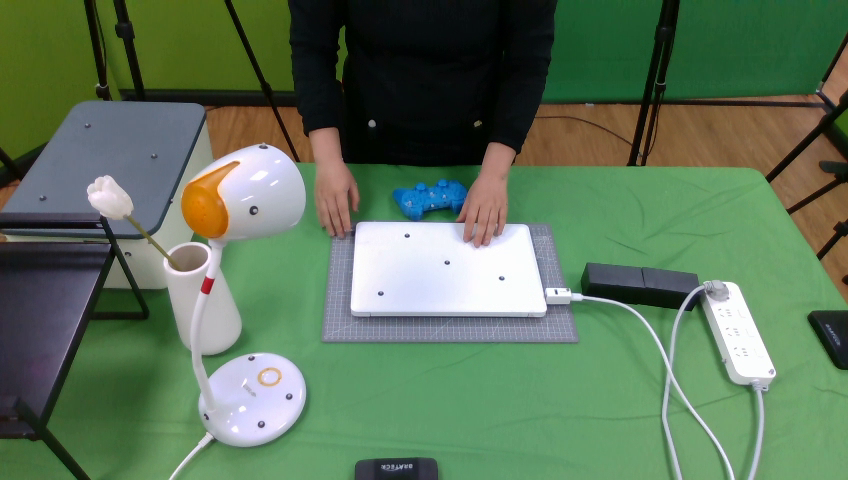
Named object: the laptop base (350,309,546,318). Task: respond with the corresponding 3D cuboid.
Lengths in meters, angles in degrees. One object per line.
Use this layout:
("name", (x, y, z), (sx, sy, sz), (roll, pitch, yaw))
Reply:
("laptop base", (0.041, 0.055, 1.149), (0.355, 0.023, 0.234), (0, 43, -4))

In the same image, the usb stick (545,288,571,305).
("usb stick", (0.236, 0.102, 1.101), (0.059, 0.027, 0.021), (-2, 46, 1))

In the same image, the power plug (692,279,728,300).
("power plug", (0.522, 0.091, 1.116), (0.072, 0.053, 0.035), (10, 47, 8))

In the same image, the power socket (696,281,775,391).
("power socket", (0.550, 0.160, 1.078), (0.072, 0.033, 0.225), (2, 46, -2))

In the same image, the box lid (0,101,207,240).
("box lid", (-0.559, -0.137, 1.083), (0.263, 0.015, 0.369), (2, 46, -2))

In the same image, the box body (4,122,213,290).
("box body", (-0.563, -0.086, 1.138), (0.254, 0.161, 0.361), (2, 46, -3))

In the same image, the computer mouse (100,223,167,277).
("computer mouse", (-0.539, 0.014, 1.122), (0.062, 0.041, 0.117), (30, 57, 18))

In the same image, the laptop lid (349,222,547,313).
("laptop lid", (0.041, 0.046, 1.143), (0.357, 0.013, 0.240), (2, 44, -3))

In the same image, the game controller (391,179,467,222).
("game controller", (0.015, -0.093, 1.273), (0.155, 0.052, 0.096), (-10, 53, -14))

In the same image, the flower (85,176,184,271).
("flower", (-0.365, 0.038, 0.894), (0.038, 0.364, 0.044), (-6, 53, 14))

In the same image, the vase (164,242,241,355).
("vase", (-0.349, 0.096, 0.954), (0.098, 0.201, 0.097), (3, 47, -3))

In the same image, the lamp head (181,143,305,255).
("lamp head", (-0.216, -0.044, 0.697), (0.112, 0.113, 0.123), (23, 31, 17))

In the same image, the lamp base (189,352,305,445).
("lamp base", (-0.268, 0.196, 0.876), (0.160, 0.181, 0.179), (26, 52, 20))
